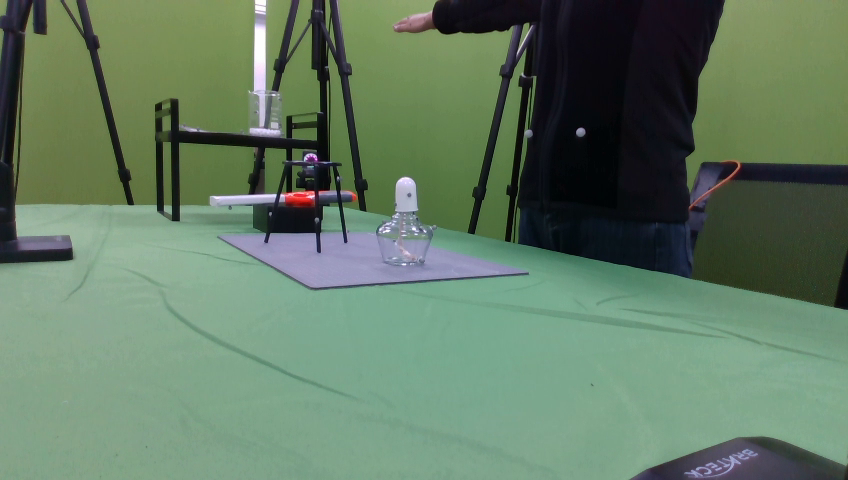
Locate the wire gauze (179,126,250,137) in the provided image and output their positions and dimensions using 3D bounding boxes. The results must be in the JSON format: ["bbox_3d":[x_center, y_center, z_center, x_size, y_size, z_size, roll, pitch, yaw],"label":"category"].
[{"bbox_3d":[-0.439,-0.227,1.266,0.122,0.011,0.124,0,9,-34],"label":"wire gauze"}]

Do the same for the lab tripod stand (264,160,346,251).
[{"bbox_3d":[-0.177,-0.057,0.929,0.148,0.131,0.148,1,9,0],"label":"lab tripod stand"}]

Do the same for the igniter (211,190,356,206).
[{"bbox_3d":[-0.260,-0.080,1.151,0.278,0.025,0.057,-5,13,-34],"label":"igniter"}]

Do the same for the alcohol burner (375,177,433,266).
[{"bbox_3d":[-0.026,-0.025,0.815,0.078,0.119,0.078,5,7,0],"label":"alcohol burner"}]

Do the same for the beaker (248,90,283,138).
[{"bbox_3d":[-0.354,-0.278,1.340,0.074,0.100,0.084,6,9,26],"label":"beaker"}]

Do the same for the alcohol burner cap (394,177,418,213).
[{"bbox_3d":[-0.025,-0.060,0.809,0.034,0.048,0.034,-4,10,1],"label":"alcohol burner cap"}]
